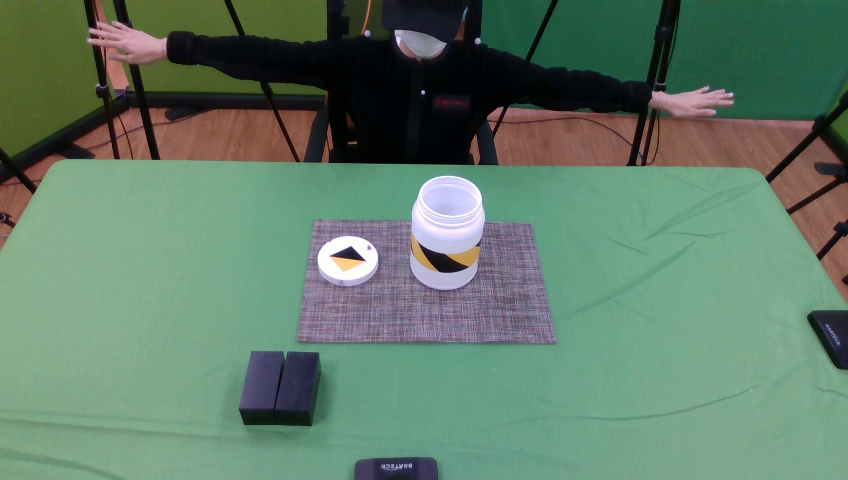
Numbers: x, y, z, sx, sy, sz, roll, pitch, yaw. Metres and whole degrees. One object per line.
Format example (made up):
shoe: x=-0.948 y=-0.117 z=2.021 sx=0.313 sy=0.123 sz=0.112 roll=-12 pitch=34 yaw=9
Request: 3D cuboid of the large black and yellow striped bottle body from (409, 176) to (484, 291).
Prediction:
large black and yellow striped bottle body: x=0.040 y=-0.012 z=1.095 sx=0.131 sy=0.185 sz=0.130 roll=2 pitch=46 yaw=-2

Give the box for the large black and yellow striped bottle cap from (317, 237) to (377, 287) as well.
large black and yellow striped bottle cap: x=-0.146 y=0.040 z=1.148 sx=0.115 sy=0.019 sz=0.114 roll=2 pitch=47 yaw=-2
